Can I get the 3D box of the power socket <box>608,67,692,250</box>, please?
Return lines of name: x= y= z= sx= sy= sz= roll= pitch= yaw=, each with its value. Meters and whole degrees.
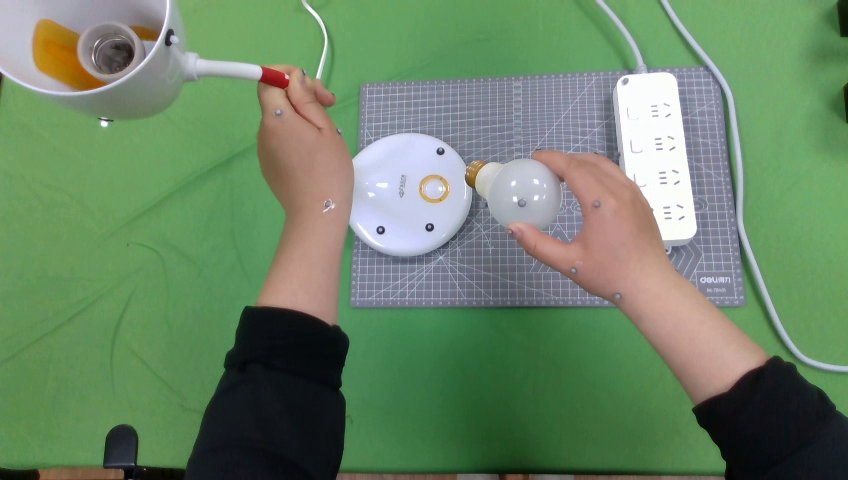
power socket: x=0.263 y=-0.102 z=0.712 sx=0.072 sy=0.033 sz=0.225 roll=-3 pitch=75 yaw=5

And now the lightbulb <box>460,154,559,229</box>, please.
lightbulb: x=0.066 y=-0.047 z=0.505 sx=0.059 sy=0.060 sz=0.106 roll=-48 pitch=38 yaw=-7

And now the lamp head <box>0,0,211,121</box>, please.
lamp head: x=-0.207 y=-0.129 z=0.402 sx=0.112 sy=0.123 sz=0.112 roll=0 pitch=83 yaw=0

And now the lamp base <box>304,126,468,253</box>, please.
lamp base: x=-0.049 y=-0.081 z=0.667 sx=0.179 sy=0.181 sz=0.159 roll=-7 pitch=74 yaw=8
